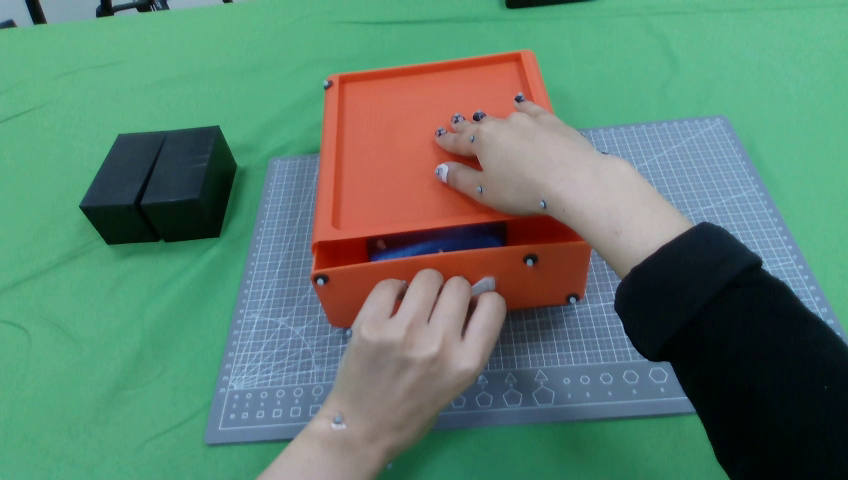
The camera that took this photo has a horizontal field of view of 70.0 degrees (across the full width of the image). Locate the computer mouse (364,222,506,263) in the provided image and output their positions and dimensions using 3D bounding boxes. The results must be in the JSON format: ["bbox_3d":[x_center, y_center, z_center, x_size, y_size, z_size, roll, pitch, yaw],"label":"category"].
[{"bbox_3d":[0.007,-0.008,0.492,0.117,0.041,0.062,-8,50,8],"label":"computer mouse"}]

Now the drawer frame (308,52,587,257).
[{"bbox_3d":[0.013,-0.060,0.518,0.202,0.083,0.211,-8,47,2],"label":"drawer frame"}]

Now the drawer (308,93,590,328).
[{"bbox_3d":[0.015,-0.038,0.500,0.194,0.074,0.209,-7,48,3],"label":"drawer"}]
